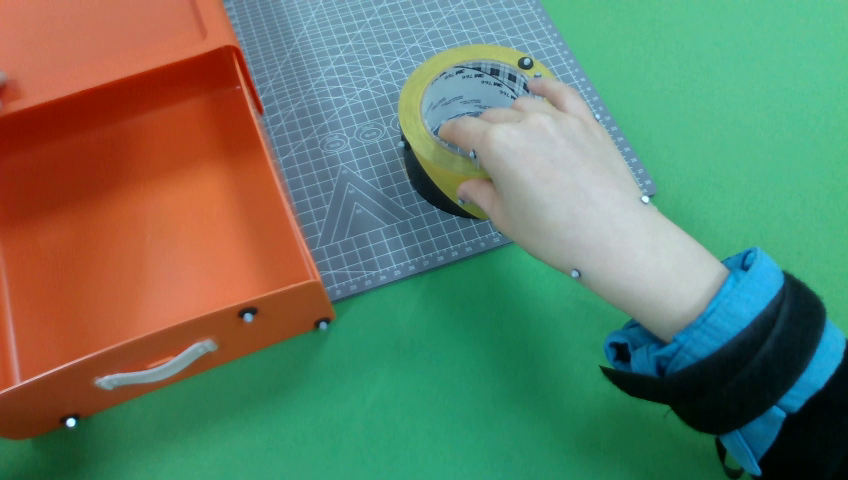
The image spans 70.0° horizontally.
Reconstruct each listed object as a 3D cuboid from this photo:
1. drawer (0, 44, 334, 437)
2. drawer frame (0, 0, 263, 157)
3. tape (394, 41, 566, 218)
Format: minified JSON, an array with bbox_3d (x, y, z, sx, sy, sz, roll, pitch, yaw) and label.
[{"bbox_3d":[-0.182,-0.015,0.373,0.195,0.074,0.210,-21,66,-9],"label":"drawer"},{"bbox_3d":[-0.248,-0.156,0.442,0.202,0.083,0.211,-22,64,-10],"label":"drawer frame"},{"bbox_3d":[0.039,-0.075,0.413,0.117,0.053,0.116,0,63,1],"label":"tape"}]
